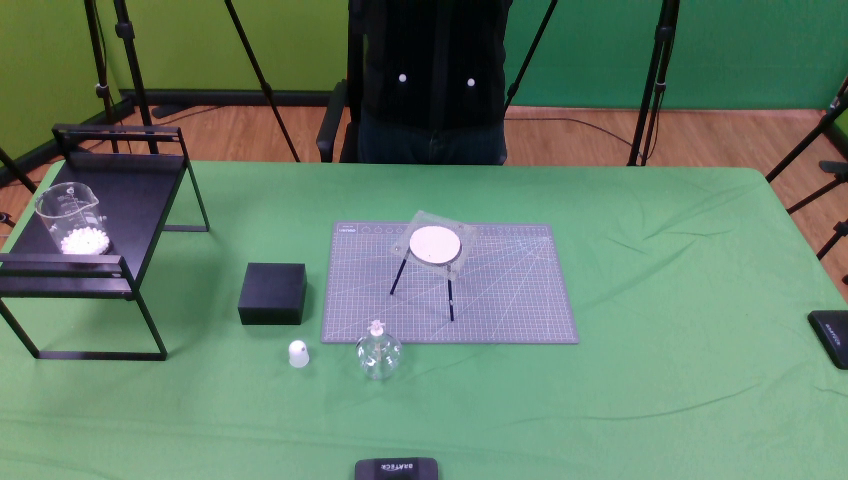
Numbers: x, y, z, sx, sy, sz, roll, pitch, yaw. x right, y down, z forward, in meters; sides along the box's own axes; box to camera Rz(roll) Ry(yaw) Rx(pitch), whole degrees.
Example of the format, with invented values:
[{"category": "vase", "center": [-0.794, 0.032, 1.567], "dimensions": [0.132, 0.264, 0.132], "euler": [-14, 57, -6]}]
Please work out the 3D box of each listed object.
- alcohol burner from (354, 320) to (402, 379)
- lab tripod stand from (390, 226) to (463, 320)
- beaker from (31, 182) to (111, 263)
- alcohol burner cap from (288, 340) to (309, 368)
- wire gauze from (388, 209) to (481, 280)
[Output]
[{"category": "alcohol burner", "center": [-0.074, 0.169, 0.964], "dimensions": [0.078, 0.120, 0.077], "euler": [1, 46, -1]}, {"category": "lab tripod stand", "center": [0.014, 0.053, 1.063], "dimensions": [0.148, 0.132, 0.147], "euler": [1, 48, -1]}, {"category": "beaker", "center": [-0.502, -0.022, 0.877], "dimensions": [0.084, 0.101, 0.073], "euler": [-2, 47, -7]}, {"category": "alcohol burner cap", "center": [-0.207, 0.183, 0.991], "dimensions": [0.034, 0.048, 0.033], "euler": [3, 47, -3]}, {"category": "wire gauze", "center": [0.018, 0.002, 1.019], "dimensions": [0.125, 0.011, 0.121], "euler": [21, 49, 16]}]
